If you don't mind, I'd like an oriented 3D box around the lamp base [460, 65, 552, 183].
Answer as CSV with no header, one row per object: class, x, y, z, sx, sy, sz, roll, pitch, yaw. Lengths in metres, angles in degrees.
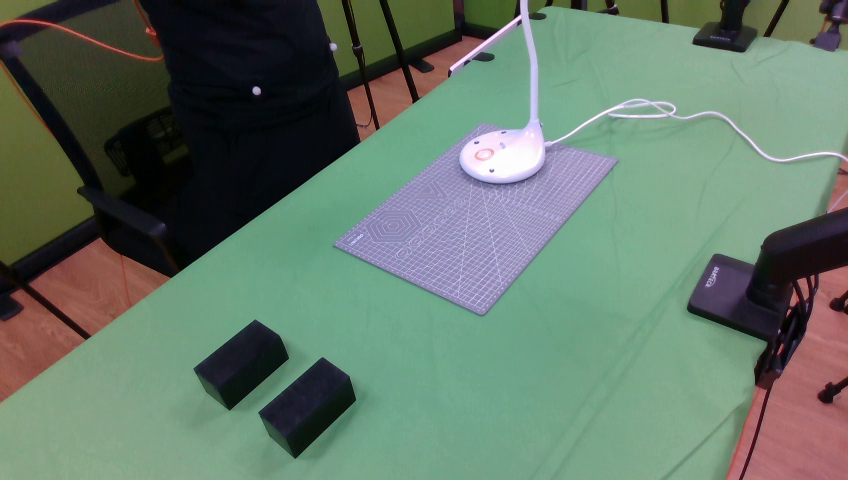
lamp base,0.149,-0.218,1.078,0.180,0.181,0.159,-19,41,-17
